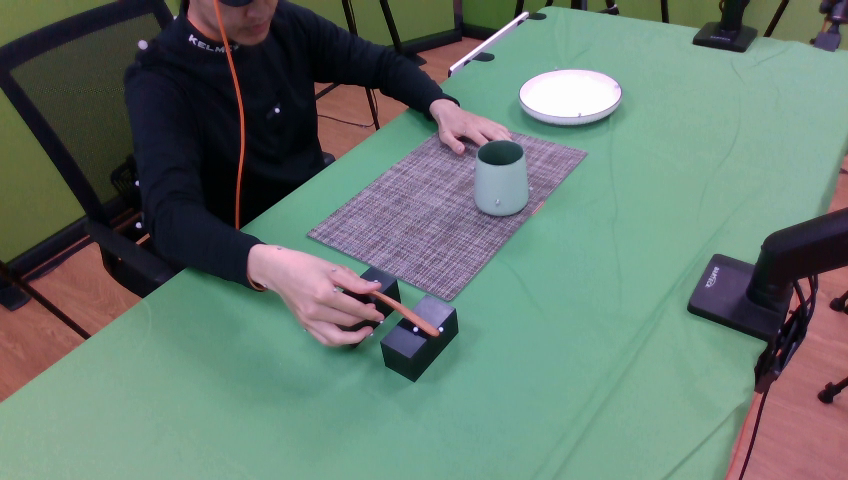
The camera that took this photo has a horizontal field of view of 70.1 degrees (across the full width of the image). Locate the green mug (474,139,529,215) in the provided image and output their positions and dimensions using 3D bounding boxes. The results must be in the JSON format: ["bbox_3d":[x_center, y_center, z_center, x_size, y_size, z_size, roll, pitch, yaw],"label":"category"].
[{"bbox_3d":[0.126,-0.113,1.013,0.092,0.105,0.124,-8,41,0],"label":"green mug"}]

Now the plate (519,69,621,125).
[{"bbox_3d":[0.300,-0.293,1.253,0.209,0.038,0.208,-4,41,4],"label":"plate"}]

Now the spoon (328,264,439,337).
[{"bbox_3d":[-0.056,0.079,0.807,0.192,0.021,0.042,25,33,32],"label":"spoon"}]
